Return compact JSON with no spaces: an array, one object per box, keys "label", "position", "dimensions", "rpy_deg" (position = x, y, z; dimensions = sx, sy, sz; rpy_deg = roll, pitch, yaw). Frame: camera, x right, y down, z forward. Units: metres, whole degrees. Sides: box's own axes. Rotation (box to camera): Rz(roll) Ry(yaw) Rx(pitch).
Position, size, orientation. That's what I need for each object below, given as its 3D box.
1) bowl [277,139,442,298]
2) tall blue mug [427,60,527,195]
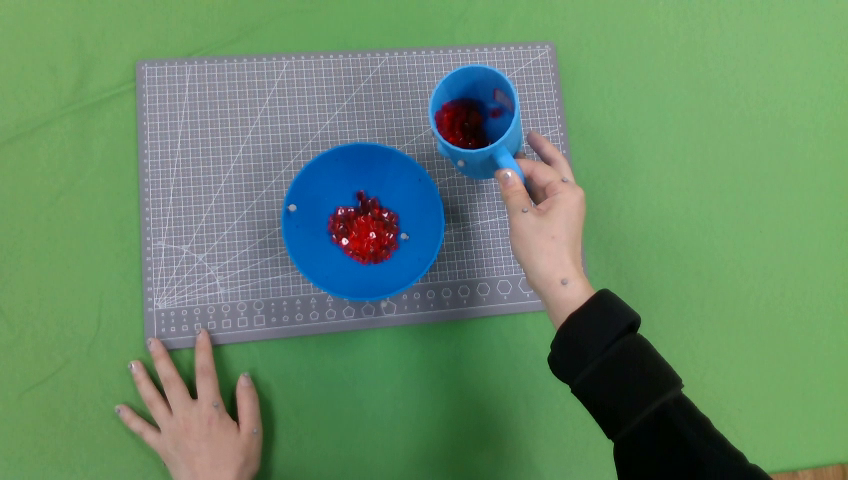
[{"label":"bowl","position":[-0.061,-0.014,0.589],"dimensions":[0.151,0.077,0.151],"rpy_deg":[1,81,-7]},{"label":"tall blue mug","position":[0.062,-0.099,0.553],"dimensions":[0.107,0.108,0.078],"rpy_deg":[30,89,11]}]
